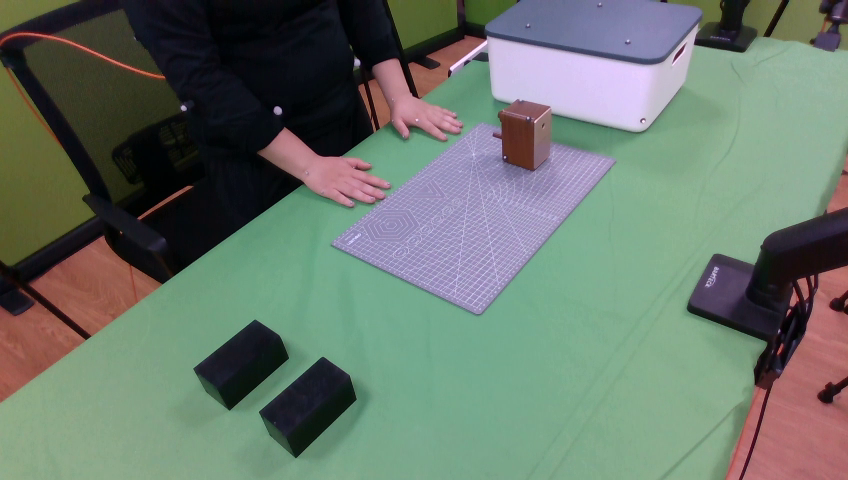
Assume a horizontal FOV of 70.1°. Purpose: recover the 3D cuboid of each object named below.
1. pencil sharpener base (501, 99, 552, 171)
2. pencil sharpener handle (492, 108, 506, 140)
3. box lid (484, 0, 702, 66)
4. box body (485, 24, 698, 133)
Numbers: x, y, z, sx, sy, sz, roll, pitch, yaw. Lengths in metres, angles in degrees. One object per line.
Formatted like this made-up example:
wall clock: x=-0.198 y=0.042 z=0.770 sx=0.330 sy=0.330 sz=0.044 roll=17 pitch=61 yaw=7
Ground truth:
pencil sharpener base: x=0.184 y=-0.191 z=1.097 sx=0.076 sy=0.107 sz=0.061 roll=23 pitch=49 yaw=32
pencil sharpener handle: x=0.141 y=-0.215 z=1.114 sx=0.030 sy=0.068 sz=0.036 roll=23 pitch=41 yaw=32
box lid: x=0.333 y=-0.428 z=1.202 sx=0.368 sy=0.015 sz=0.264 roll=21 pitch=48 yaw=30
box body: x=0.340 y=-0.373 z=1.251 sx=0.361 sy=0.161 sz=0.255 roll=21 pitch=48 yaw=30
